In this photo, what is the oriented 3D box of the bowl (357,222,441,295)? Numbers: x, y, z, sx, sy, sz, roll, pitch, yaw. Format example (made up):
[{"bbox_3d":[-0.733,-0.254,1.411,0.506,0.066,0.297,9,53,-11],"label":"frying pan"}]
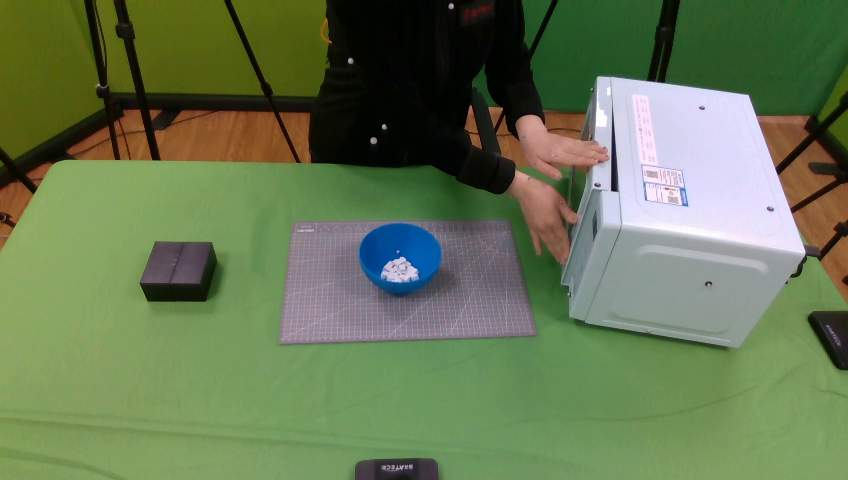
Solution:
[{"bbox_3d":[-0.046,0.046,1.107,0.151,0.077,0.150,3,45,-2],"label":"bowl"}]

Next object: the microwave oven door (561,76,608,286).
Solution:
[{"bbox_3d":[0.312,-0.121,1.161,0.039,0.245,0.354,10,46,6],"label":"microwave oven door"}]

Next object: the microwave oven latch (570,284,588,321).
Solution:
[{"bbox_3d":[0.276,0.106,1.082,0.030,0.029,0.079,10,45,7],"label":"microwave oven latch"}]

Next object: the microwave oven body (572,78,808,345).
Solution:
[{"bbox_3d":[0.456,-0.063,1.124,0.326,0.261,0.439,8,45,5],"label":"microwave oven body"}]
